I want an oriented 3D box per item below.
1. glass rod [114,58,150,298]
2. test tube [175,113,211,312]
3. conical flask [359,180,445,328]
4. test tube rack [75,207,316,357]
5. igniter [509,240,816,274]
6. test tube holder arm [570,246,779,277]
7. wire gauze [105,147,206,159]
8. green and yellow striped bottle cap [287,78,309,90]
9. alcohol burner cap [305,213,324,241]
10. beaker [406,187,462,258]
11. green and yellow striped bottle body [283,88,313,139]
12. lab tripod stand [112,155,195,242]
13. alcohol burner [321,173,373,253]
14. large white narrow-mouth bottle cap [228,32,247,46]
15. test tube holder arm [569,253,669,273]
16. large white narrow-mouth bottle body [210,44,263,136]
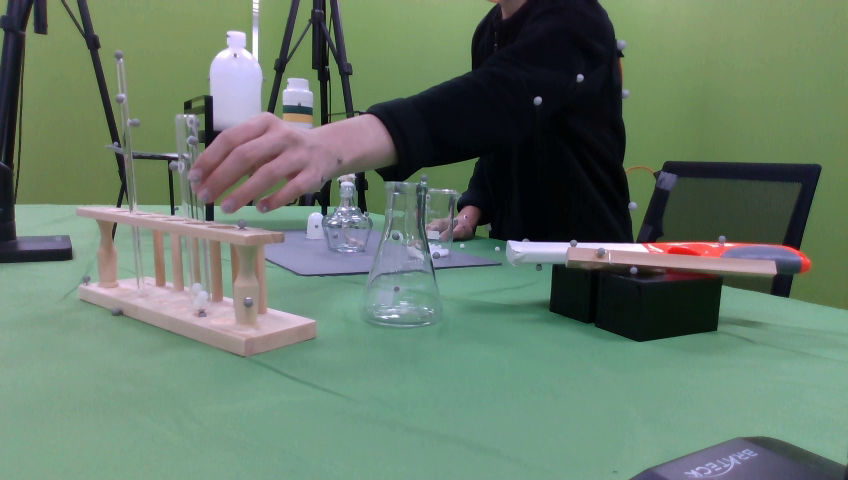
[{"bbox_3d":[-0.237,-0.044,0.492,0.008,0.199,0.008,1,15,0],"label":"glass rod"},{"bbox_3d":[-0.175,-0.020,0.458,0.017,0.150,0.017,-3,5,1],"label":"test tube"},{"bbox_3d":[-0.017,0.010,0.522,0.075,0.122,0.075,2,7,0],"label":"conical flask"},{"bbox_3d":[-0.196,0.023,0.499,0.241,0.085,0.067,8,9,36],"label":"test tube rack"},{"bbox_3d":[0.220,0.015,0.565,0.277,0.025,0.057,2,17,0],"label":"igniter"},{"bbox_3d":[0.217,0.020,0.525,0.178,0.015,0.013,3,-24,2],"label":"test tube holder arm"},{"bbox_3d":[-0.408,-0.131,0.929,0.125,0.011,0.121,2,6,-11],"label":"wire gauze"},{"bbox_3d":[-0.265,-0.326,1.268,0.045,0.020,0.045,4,6,0],"label":"green and yellow striped bottle cap"},{"bbox_3d":[-0.185,-0.023,1.027,0.034,0.048,0.034,2,7,0],"label":"alcohol burner cap"},{"bbox_3d":[0.013,-0.026,0.893,0.084,0.100,0.074,2,8,-2],"label":"beaker"},{"bbox_3d":[-0.266,-0.275,1.275,0.063,0.119,0.063,3,7,0],"label":"green and yellow striped bottle body"},{"bbox_3d":[-0.405,-0.064,0.931,0.148,0.131,0.148,1,6,0],"label":"lab tripod stand"},{"bbox_3d":[-0.115,-0.040,0.905,0.078,0.119,0.078,1,6,0],"label":"alcohol burner"},{"bbox_3d":[-0.364,-0.390,1.180,0.038,0.024,0.037,3,8,0],"label":"large white narrow-mouth bottle cap"},{"bbox_3d":[0.172,0.019,0.532,0.088,0.015,0.010,3,-24,3],"label":"test tube holder arm"},{"bbox_3d":[-0.369,-0.305,1.194,0.102,0.194,0.102,3,8,0],"label":"large white narrow-mouth bottle body"}]
